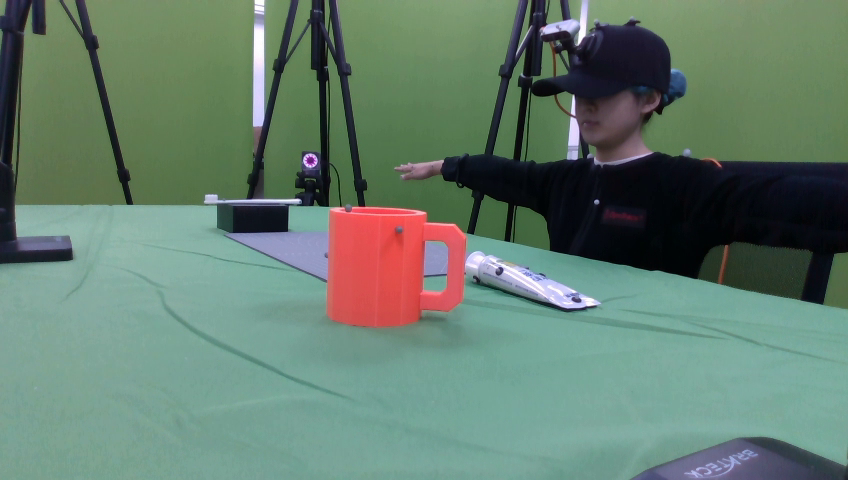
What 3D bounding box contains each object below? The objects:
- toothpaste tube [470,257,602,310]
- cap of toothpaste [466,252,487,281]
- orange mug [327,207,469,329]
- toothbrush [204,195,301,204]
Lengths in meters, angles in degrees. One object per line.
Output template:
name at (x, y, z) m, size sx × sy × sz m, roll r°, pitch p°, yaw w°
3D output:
toothpaste tube at (0.110, 0.049, 0.659) m, size 0.055 × 0.034 × 0.164 m, roll -8°, pitch 16°, yaw -37°
cap of toothpaste at (0.065, 0.033, 0.720) m, size 0.037 × 0.037 × 0.011 m, roll -3°, pitch 13°, yaw -39°
orange mug at (-0.024, 0.021, 0.535) m, size 0.126 × 0.100 × 0.083 m, roll -1°, pitch 6°, yaw 8°
toothbrush at (-0.314, -0.074, 1.120) m, size 0.183 × 0.016 × 0.014 m, roll -2°, pitch 4°, yaw -36°
